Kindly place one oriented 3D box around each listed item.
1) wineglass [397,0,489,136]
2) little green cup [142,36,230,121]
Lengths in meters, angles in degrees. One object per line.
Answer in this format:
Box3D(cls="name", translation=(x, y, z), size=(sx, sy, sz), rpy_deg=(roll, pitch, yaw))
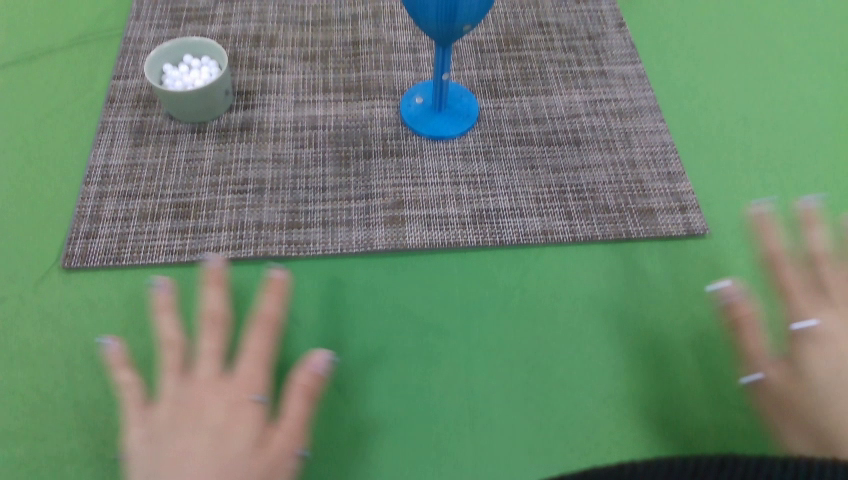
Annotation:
Box3D(cls="wineglass", translation=(0.013, -0.155, 0.420), size=(0.074, 0.173, 0.073), rpy_deg=(1, 57, -1))
Box3D(cls="little green cup", translation=(-0.181, -0.124, 0.471), size=(0.061, 0.039, 0.061), rpy_deg=(1, 57, -2))
